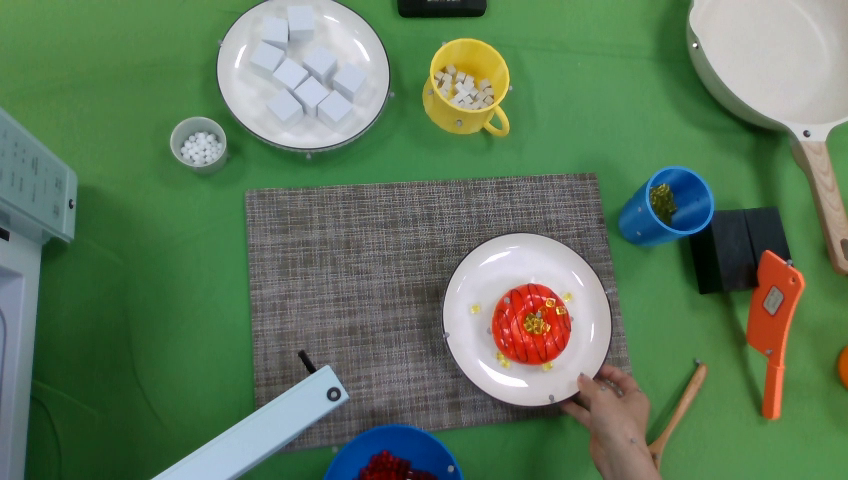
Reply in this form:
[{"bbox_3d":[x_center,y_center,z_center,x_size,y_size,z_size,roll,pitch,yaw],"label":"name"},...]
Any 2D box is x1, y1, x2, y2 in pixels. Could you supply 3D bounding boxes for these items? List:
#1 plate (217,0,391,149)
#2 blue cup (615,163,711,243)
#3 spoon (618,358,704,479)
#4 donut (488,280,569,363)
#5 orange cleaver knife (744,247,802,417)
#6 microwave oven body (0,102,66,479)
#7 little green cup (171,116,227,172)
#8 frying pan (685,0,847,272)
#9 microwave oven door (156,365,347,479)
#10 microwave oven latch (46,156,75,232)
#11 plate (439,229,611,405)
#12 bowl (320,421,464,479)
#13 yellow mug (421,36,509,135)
[{"bbox_3d":[-0.146,-0.208,0.753,0.208,0.039,0.206,2,77,-9],"label":"plate"},{"bbox_3d":[0.288,-0.038,0.753,0.093,0.100,0.092,3,75,-10],"label":"blue cup"},{"bbox_3d":[0.296,0.222,0.737,0.041,0.022,0.193,35,74,17],"label":"spoon"},{"bbox_3d":[0.123,0.096,0.713,0.099,0.048,0.098,1,80,-8],"label":"donut"},{"bbox_3d":[0.426,0.115,0.752,0.012,0.076,0.212,-5,107,-10],"label":"orange cleaver knife"},{"bbox_3d":[-0.520,0.104,0.502,0.327,0.260,0.439,-1,78,-10],"label":"microwave oven body"},{"bbox_3d":[-0.261,-0.110,0.710,0.062,0.038,0.061,2,78,-10],"label":"little green cup"},{"bbox_3d":[0.502,-0.190,0.821,0.307,0.103,0.484,1,69,-8],"label":"frying pan"},{"bbox_3d":[-0.226,0.220,0.520,0.356,0.244,0.039,-33,84,-15],"label":"microwave oven door"},{"bbox_3d":[-0.398,-0.049,0.656,0.030,0.029,0.079,1,78,-10],"label":"microwave oven latch"},{"bbox_3d":[0.118,0.090,0.725,0.209,0.038,0.208,2,78,-9],"label":"plate"},{"bbox_3d":[-0.037,0.267,0.644,0.152,0.077,0.150,2,77,-8],"label":"bowl"},{"bbox_3d":[0.061,-0.185,0.768,0.100,0.064,0.130,-42,88,-15],"label":"yellow mug"}]
